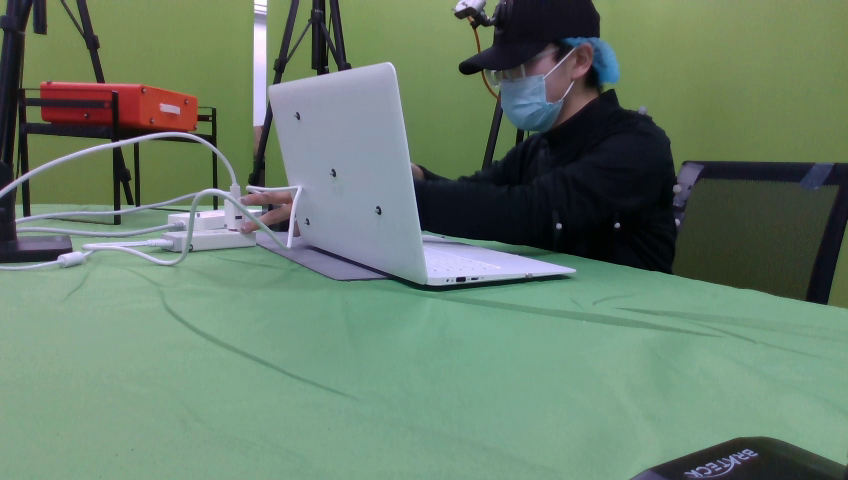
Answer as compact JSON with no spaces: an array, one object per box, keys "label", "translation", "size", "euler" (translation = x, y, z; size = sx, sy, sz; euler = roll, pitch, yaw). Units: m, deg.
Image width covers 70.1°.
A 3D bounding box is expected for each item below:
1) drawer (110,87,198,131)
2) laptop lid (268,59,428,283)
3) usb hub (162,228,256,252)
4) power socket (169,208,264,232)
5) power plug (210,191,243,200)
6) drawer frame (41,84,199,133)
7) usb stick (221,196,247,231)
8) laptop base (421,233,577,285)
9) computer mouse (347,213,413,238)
[{"label":"drawer","translation":[-0.602,-0.263,1.225],"size":[0.211,0.073,0.195],"euler":[3,8,10]},{"label":"laptop lid","translation":[-0.111,-0.087,0.752],"size":[0.013,0.241,0.355],"euler":[-18,19,-30]},{"label":"usb hub","translation":[-0.315,-0.001,0.894],"size":[0.049,0.025,0.126],"euler":[8,10,41]},{"label":"power socket","translation":[-0.381,-0.038,1.128],"size":[0.072,0.032,0.227],"euler":[4,8,17]},{"label":"power plug","translation":[-0.387,-0.071,1.203],"size":[0.072,0.052,0.035],"euler":[7,10,25]},{"label":"drawer frame","translation":[-0.605,-0.264,1.225],"size":[0.213,0.082,0.202],"euler":[3,8,8]},{"label":"usb stick","translation":[-0.291,-0.035,0.921],"size":[0.027,0.059,0.021],"euler":[16,5,32]},{"label":"laptop base","translation":[0.007,0.022,0.850],"size":[0.237,0.023,0.352],"euler":[1,7,-34]},{"label":"computer mouse","translation":[-0.079,-0.026,1.080],"size":[0.117,0.041,0.062],"euler":[-5,12,-18]}]
